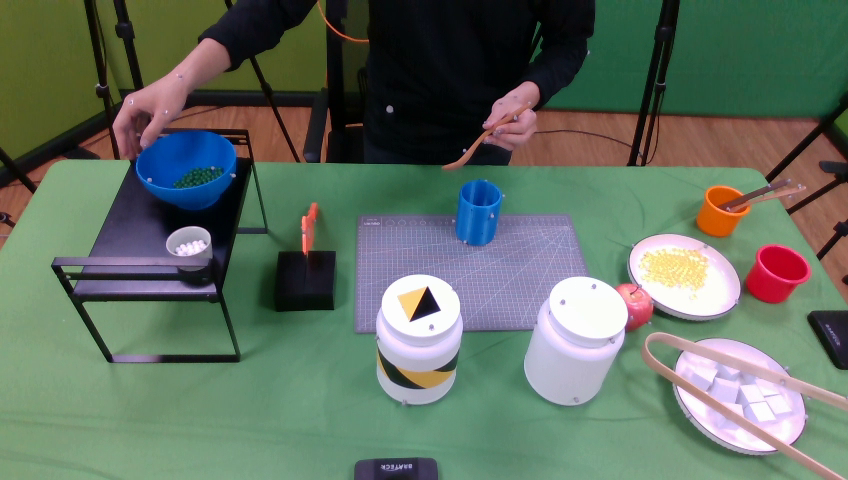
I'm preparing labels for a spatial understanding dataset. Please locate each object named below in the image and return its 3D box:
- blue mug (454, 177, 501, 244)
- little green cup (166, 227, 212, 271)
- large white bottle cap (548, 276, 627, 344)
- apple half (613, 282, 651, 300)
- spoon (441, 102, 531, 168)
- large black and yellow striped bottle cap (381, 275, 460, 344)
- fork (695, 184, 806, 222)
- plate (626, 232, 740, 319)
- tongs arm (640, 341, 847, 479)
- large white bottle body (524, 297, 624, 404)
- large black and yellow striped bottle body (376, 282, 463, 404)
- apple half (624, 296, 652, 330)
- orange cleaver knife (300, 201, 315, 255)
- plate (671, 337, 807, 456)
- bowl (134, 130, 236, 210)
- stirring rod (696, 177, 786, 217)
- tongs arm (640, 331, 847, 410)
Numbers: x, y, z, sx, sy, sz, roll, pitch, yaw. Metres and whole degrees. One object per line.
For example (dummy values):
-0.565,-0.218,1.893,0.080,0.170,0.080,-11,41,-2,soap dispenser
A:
0.106,-0.067,1.208,0.082,0.106,0.116,6,46,1,blue mug
-0.344,0.014,0.895,0.061,0.039,0.061,3,46,-3,little green cup
0.240,0.100,0.890,0.115,0.018,0.114,3,47,-3,large white bottle cap
0.356,0.109,1.086,0.081,0.075,0.053,-14,44,-12,apple half
0.100,-0.173,1.015,0.021,0.194,0.041,53,34,2,spoon
-0.005,0.098,0.875,0.115,0.019,0.114,2,45,-2,large black and yellow striped bottle cap
0.658,-0.074,1.230,0.207,0.019,0.028,-24,33,36,fork
0.489,0.070,1.157,0.209,0.038,0.208,3,46,-3,plate
0.500,0.278,0.919,0.386,0.028,0.028,34,59,22,tongs arm
0.235,0.159,0.952,0.131,0.185,0.130,2,47,-2,large white bottle body
-0.010,0.155,0.937,0.131,0.185,0.130,2,47,-2,large black and yellow striped bottle body
0.368,0.135,1.060,0.081,0.081,0.032,-11,43,-15,apple half
-0.222,-0.027,1.161,0.012,0.077,0.210,-2,15,-4,orange cleaver knife
0.504,0.254,0.984,0.208,0.039,0.206,2,46,-2,plate
-0.375,-0.102,0.977,0.151,0.077,0.150,2,47,-2,bowl
0.648,-0.087,1.244,0.176,0.006,0.014,-25,50,29,stirring rod
0.543,0.226,0.969,0.384,0.026,0.050,22,52,13,tongs arm
